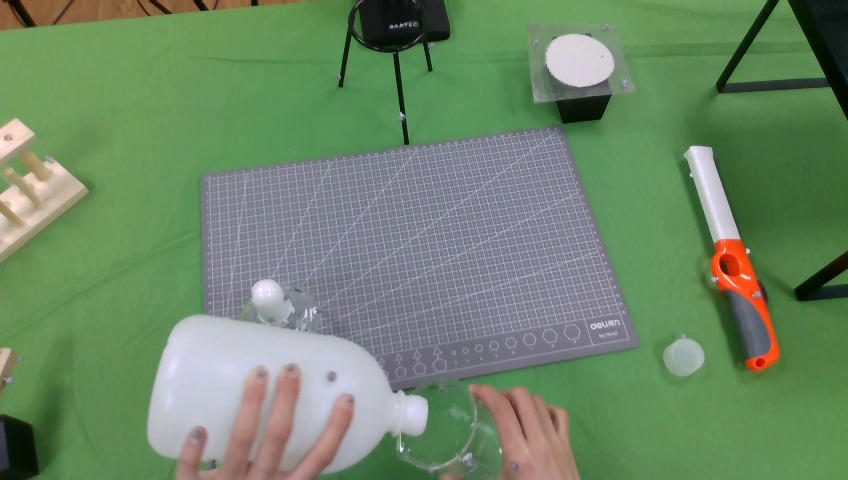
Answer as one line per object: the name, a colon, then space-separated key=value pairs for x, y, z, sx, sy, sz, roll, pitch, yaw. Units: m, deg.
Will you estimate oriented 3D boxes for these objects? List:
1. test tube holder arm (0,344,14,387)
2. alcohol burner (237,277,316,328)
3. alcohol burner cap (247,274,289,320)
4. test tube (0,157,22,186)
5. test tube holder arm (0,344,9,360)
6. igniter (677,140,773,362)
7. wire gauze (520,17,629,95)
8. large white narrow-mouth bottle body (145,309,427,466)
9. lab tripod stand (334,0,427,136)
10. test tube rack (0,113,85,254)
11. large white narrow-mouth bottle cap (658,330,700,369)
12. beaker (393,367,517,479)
test tube holder arm: x=-0.399 y=0.178 z=0.531 sx=0.013 sy=0.015 sz=0.177 roll=-2 pitch=63 yaw=9
alcohol burner: x=-0.147 y=0.066 z=0.590 sx=0.078 sy=0.120 sz=0.077 roll=2 pitch=62 yaw=-3
alcohol burner cap: x=-0.146 y=0.050 z=0.558 sx=0.034 sy=0.048 sz=0.033 roll=-1 pitch=59 yaw=2
test tube: x=-0.467 y=-0.101 z=0.625 sx=0.017 sy=0.151 sz=0.017 roll=-1 pitch=62 yaw=2
test tube holder arm: x=-0.403 y=0.138 z=0.552 sx=0.010 sy=0.015 sz=0.087 roll=-1 pitch=63 yaw=9
igniter: x=0.339 y=0.004 z=0.687 sx=0.057 sy=0.025 sz=0.274 roll=1 pitch=63 yaw=-13
wire gauze: x=0.184 y=-0.232 z=0.754 sx=0.121 sy=0.011 sz=0.124 roll=-2 pitch=64 yaw=-3
large white narrow-mouth bottle body: x=-0.094 y=0.115 z=0.455 sx=0.195 sy=0.102 sz=0.101 roll=12 pitch=63 yaw=-13
lab tripod stand: x=-0.044 y=-0.220 z=0.726 sx=0.148 sy=0.132 sz=0.147 roll=2 pitch=64 yaw=-3
test tube rack: x=-0.497 y=-0.017 z=0.638 sx=0.066 sy=0.086 sz=0.242 roll=37 pitch=68 yaw=15
large white narrow-mouth bottle cap: x=0.266 y=0.115 z=0.635 sx=0.038 sy=0.024 sz=0.037 roll=1 pitch=63 yaw=-1
beaker: x=0.030 y=0.165 z=0.525 sx=0.084 sy=0.101 sz=0.073 roll=-40 pitch=47 yaw=7
